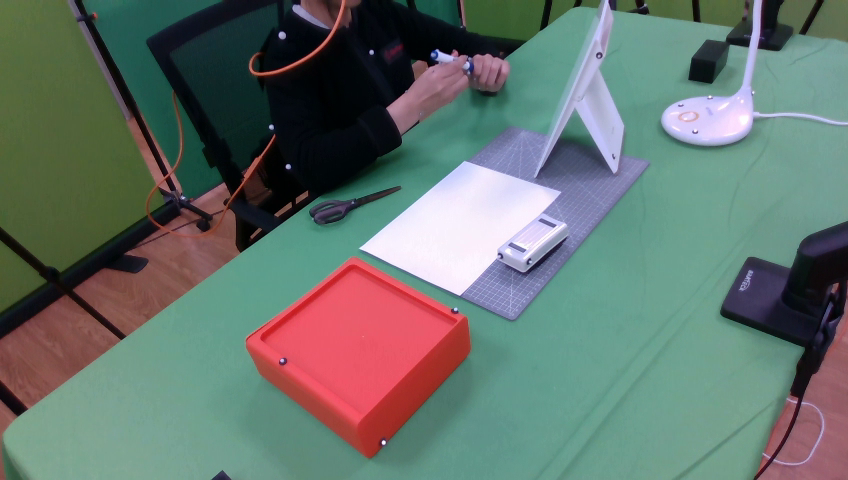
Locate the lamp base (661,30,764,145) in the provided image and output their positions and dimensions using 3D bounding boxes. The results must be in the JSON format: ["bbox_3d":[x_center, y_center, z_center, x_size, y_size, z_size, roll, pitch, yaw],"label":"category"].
[{"bbox_3d":[0.535,-0.287,1.096,0.179,0.181,0.159,-10,40,-4],"label":"lamp base"}]

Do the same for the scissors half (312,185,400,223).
[{"bbox_3d":[-0.119,-0.066,1.088,0.176,0.013,0.040,-25,37,-24],"label":"scissors half"}]

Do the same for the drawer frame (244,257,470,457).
[{"bbox_3d":[-0.084,0.138,0.788,0.212,0.083,0.202,25,50,33],"label":"drawer frame"}]

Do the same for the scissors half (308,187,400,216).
[{"bbox_3d":[-0.127,-0.075,1.104,0.176,0.013,0.039,-15,29,-10],"label":"scissors half"}]

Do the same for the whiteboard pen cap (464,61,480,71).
[{"bbox_3d":[0.091,-0.337,1.170,0.033,0.018,0.018,-8,31,-43],"label":"whiteboard pen cap"}]

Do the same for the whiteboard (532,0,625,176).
[{"bbox_3d":[0.320,-0.259,1.050,0.144,0.306,0.217,21,45,5],"label":"whiteboard"}]

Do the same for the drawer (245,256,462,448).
[{"bbox_3d":[-0.089,0.136,0.792,0.210,0.073,0.195,26,51,34],"label":"drawer"}]

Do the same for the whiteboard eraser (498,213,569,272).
[{"bbox_3d":[0.168,0.006,0.924,0.113,0.042,0.055,-36,48,-28],"label":"whiteboard eraser"}]

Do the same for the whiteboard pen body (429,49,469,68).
[{"bbox_3d":[0.054,-0.333,1.122,0.017,0.017,0.142,22,16,32],"label":"whiteboard pen body"}]
